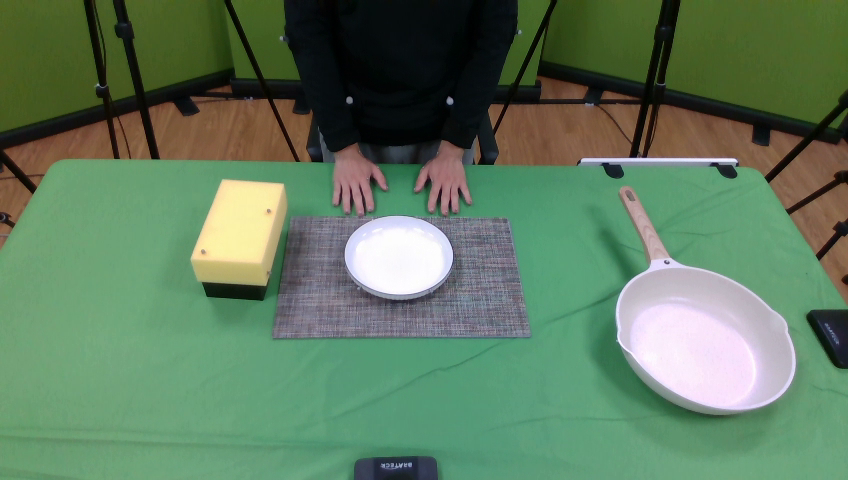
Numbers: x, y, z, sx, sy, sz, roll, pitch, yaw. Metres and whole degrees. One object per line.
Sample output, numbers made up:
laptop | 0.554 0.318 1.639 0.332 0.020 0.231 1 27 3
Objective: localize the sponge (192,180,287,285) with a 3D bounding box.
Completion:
sponge | -0.327 -0.018 1.096 0.118 0.061 0.205 3 46 -1

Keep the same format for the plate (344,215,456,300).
plate | -0.045 0.036 1.146 0.208 0.039 0.206 2 46 -2

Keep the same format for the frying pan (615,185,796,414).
frying pan | 0.449 0.087 1.092 0.307 0.103 0.484 -4 55 -10
